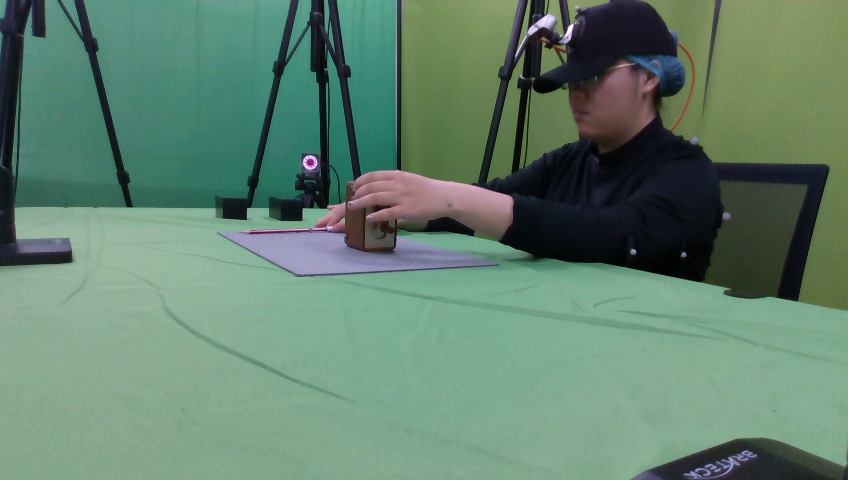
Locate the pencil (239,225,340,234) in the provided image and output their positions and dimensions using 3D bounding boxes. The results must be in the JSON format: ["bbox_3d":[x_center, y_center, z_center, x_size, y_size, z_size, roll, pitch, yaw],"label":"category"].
[{"bbox_3d":[-0.245,-0.018,1.120,0.195,0.012,0.012,-4,9,-34],"label":"pencil"}]

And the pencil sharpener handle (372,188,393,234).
[{"bbox_3d":[-0.057,-0.044,0.912,0.036,0.067,0.030,0,8,-33],"label":"pencil sharpener handle"}]

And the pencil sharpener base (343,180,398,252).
[{"bbox_3d":[-0.084,-0.038,0.956,0.062,0.107,0.076,-2,9,-33],"label":"pencil sharpener base"}]
